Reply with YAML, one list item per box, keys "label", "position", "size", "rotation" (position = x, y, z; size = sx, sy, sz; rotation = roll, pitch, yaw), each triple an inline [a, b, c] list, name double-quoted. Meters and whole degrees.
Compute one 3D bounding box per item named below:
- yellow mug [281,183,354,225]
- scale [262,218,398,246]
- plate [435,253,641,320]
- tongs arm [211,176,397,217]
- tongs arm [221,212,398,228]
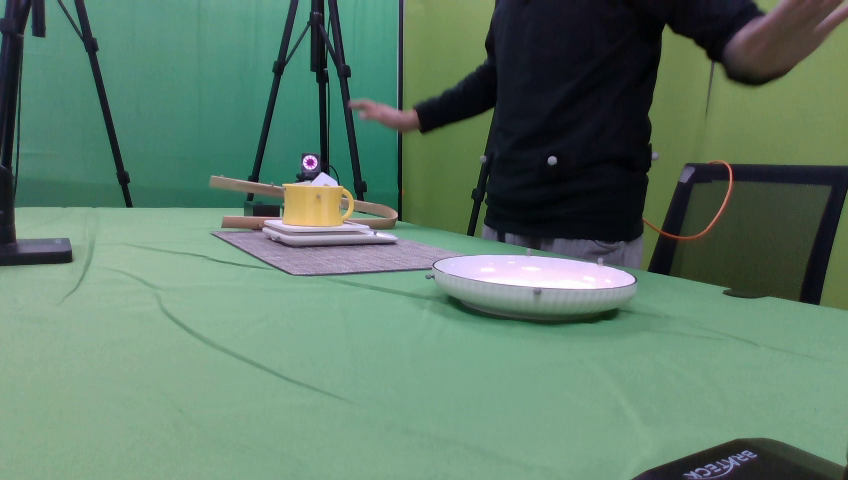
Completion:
- label: "yellow mug"
  position: [-0.172, -0.061, 1.009]
  size: [0.131, 0.064, 0.099]
  rotation: [-2, 7, -41]
- label: "scale"
  position: [-0.160, -0.016, 1.028]
  size: [0.202, 0.031, 0.148]
  rotation: [-2, 9, -32]
- label: "plate"
  position: [0.114, 0.047, 0.626]
  size: [0.208, 0.039, 0.207]
  rotation: [2, 7, 0]
- label: "tongs arm"
  position: [-0.240, -0.084, 1.257]
  size: [0.387, 0.026, 0.050]
  rotation: [7, 28, -27]
- label: "tongs arm"
  position: [-0.208, -0.039, 1.198]
  size: [0.390, 0.028, 0.028]
  rotation: [-2, 30, -38]
